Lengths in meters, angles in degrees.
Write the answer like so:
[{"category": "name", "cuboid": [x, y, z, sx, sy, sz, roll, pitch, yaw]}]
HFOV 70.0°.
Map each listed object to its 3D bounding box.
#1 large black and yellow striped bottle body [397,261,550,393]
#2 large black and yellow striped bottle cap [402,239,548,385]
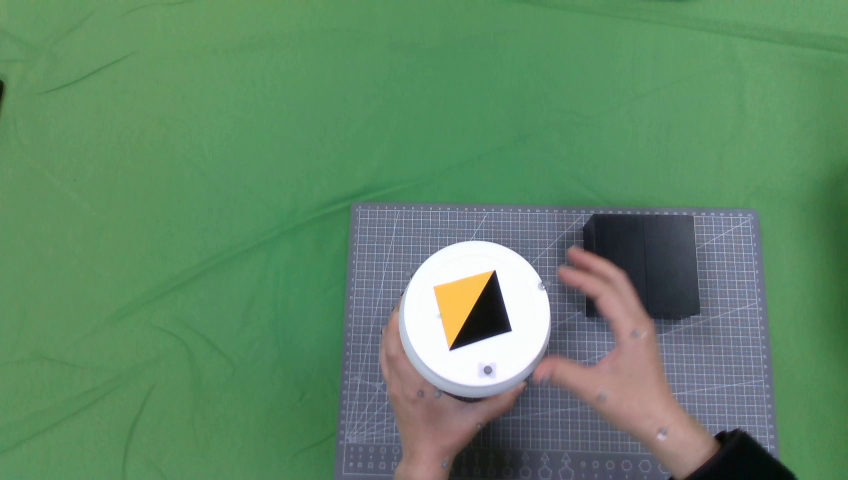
[{"category": "large black and yellow striped bottle body", "cuboid": [0.043, 0.074, 0.560, 0.131, 0.185, 0.130, 0, 77, 2]}, {"category": "large black and yellow striped bottle cap", "cuboid": [0.039, 0.055, 0.474, 0.115, 0.019, 0.114, -1, 76, 2]}]
